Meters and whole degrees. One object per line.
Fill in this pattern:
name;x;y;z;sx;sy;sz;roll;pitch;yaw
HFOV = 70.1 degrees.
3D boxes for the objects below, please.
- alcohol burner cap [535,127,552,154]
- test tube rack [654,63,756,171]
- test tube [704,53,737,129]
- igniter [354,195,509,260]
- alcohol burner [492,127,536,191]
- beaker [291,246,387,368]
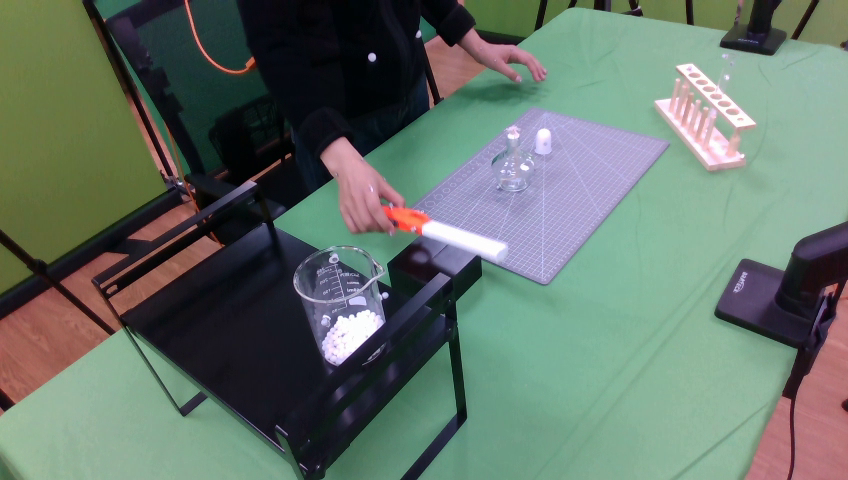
alcohol burner cap;0.227;-0.190;1.142;0.034;0.048;0.033;-3;40;3
test tube rack;0.510;-0.233;1.120;0.067;0.085;0.241;-8;41;-1
test tube;0.526;-0.261;1.074;0.017;0.151;0.017;-2;44;2
igniter;-0.002;-0.023;0.870;0.274;0.025;0.057;20;31;35
alcohol burner;0.156;-0.146;1.046;0.078;0.119;0.077;-4;43;4
beaker;-0.073;0.066;0.573;0.084;0.101;0.073;-7;41;0
